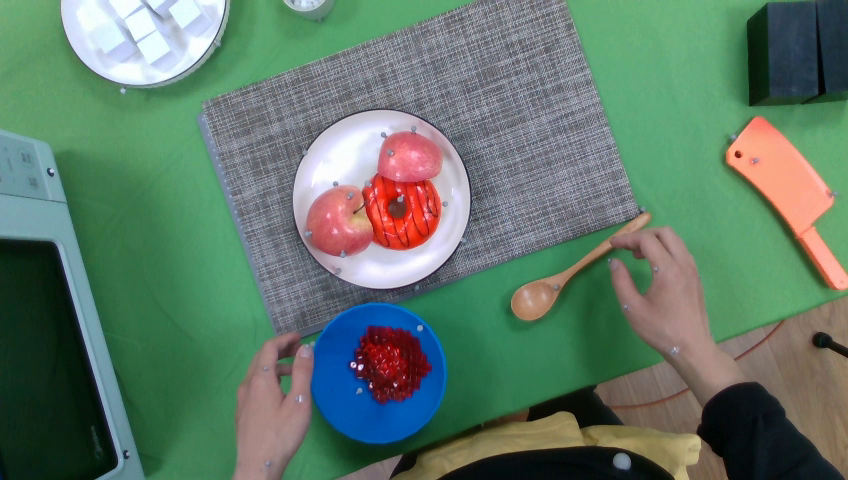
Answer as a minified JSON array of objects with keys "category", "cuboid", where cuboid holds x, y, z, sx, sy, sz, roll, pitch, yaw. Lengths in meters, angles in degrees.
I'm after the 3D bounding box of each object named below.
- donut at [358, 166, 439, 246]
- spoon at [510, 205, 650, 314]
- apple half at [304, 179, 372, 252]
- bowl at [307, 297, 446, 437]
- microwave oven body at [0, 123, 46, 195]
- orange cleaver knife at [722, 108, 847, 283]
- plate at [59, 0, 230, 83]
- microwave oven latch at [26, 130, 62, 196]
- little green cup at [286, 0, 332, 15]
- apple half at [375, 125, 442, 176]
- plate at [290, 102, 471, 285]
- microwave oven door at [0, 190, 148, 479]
[{"category":"donut","cuboid":[-0.031,-0.041,0.689,0.099,0.048,0.099,0,91,4]},{"category":"spoon","cuboid":[0.180,0.021,0.693,0.194,0.022,0.041,-37,72,4]},{"category":"apple half","cuboid":[-0.103,-0.025,0.675,0.074,0.053,0.080,-18,86,45]},{"category":"bowl","cuboid":[-0.048,0.136,0.684,0.151,0.077,0.151,0,90,5]},{"category":"microwave oven body","cuboid":[-0.557,0.122,0.630,0.326,0.260,0.441,-17,89,4]},{"category":"orange cleaver knife","cuboid":[0.417,-0.051,0.676,0.077,0.012,0.211,-35,85,-1]},{"category":"plate","cuboid":[-0.330,-0.289,0.730,0.207,0.039,0.207,0,89,5]},{"category":"microwave oven latch","cuboid":[-0.460,-0.088,0.720,0.030,0.029,0.079,-16,89,4]},{"category":"little green cup","cuboid":[-0.137,-0.298,0.714,0.061,0.038,0.061,0,89,5]},{"category":"apple half","cuboid":[-0.017,-0.106,0.673,0.081,0.033,0.080,1,49,-1]},{"category":"plate","cuboid":[-0.049,-0.052,0.701,0.209,0.038,0.209,0,90,5]},{"category":"microwave oven door","cuboid":[-0.406,0.119,0.612,0.039,0.244,0.355,-18,88,5]}]
